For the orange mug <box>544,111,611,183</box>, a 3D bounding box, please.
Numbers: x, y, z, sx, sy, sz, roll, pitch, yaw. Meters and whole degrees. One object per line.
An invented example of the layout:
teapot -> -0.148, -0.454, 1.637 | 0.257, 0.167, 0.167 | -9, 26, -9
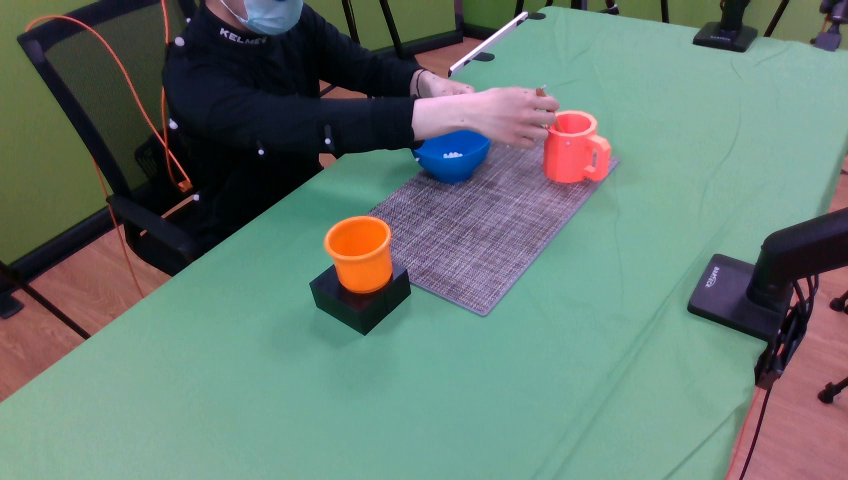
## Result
orange mug -> 0.266, -0.157, 1.049 | 0.084, 0.101, 0.125 | -33, 42, -27

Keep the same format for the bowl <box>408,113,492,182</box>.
bowl -> 0.049, -0.158, 1.097 | 0.151, 0.077, 0.150 | -4, 41, 4

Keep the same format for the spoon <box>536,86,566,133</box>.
spoon -> 0.220, -0.197, 1.010 | 0.041, 0.195, 0.021 | 4, 65, 33
